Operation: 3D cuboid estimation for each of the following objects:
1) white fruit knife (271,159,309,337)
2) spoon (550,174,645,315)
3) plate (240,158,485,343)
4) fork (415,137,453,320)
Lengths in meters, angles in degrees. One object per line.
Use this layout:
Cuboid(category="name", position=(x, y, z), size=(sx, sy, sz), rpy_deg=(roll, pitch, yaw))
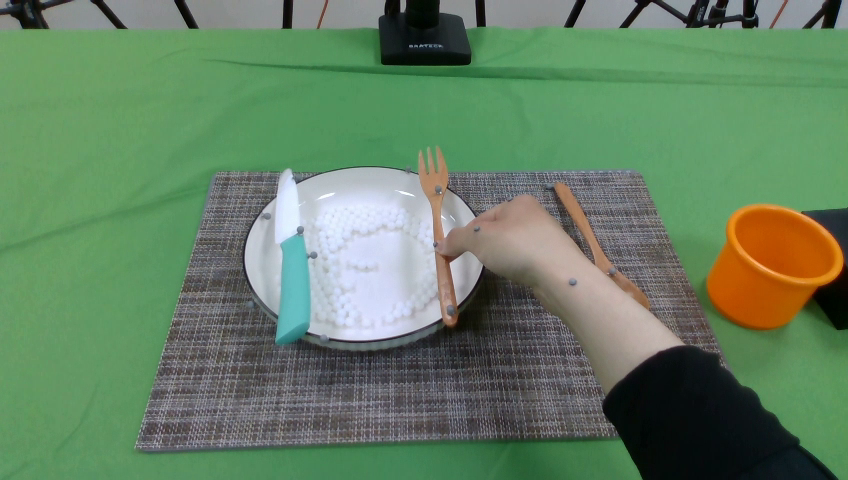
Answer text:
Cuboid(category="white fruit knife", position=(-0.114, -0.005, 0.509), size=(0.027, 0.016, 0.205), rpy_deg=(-8, 47, -8))
Cuboid(category="spoon", position=(0.154, -0.004, 0.565), size=(0.041, 0.022, 0.191), rpy_deg=(-17, 48, 4))
Cuboid(category="plate", position=(-0.051, 0.007, 0.532), size=(0.209, 0.038, 0.207), rpy_deg=(2, 47, -2))
Cuboid(category="fork", position=(0.009, -0.019, 0.521), size=(0.028, 0.019, 0.205), rpy_deg=(-9, 47, 4))
